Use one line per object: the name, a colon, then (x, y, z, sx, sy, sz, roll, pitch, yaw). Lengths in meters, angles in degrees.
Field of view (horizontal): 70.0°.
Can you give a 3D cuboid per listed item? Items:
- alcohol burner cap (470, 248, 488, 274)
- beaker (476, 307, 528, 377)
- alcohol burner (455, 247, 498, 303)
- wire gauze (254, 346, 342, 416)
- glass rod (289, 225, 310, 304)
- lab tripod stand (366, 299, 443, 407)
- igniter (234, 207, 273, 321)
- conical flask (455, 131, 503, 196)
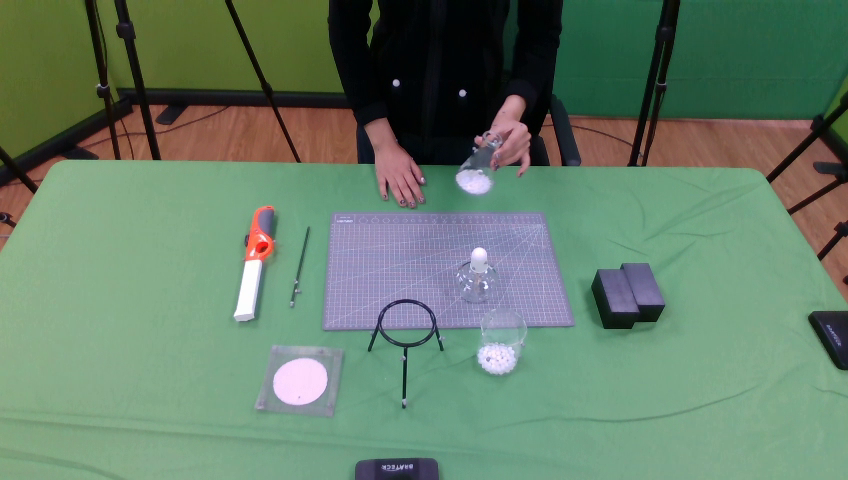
alcohol burner cap: (0.095, 0.034, 1.057, 0.034, 0.048, 0.033, -3, 53, 4)
beaker: (0.122, 0.171, 0.991, 0.084, 0.101, 0.073, -34, 56, -31)
alcohol burner: (0.095, 0.057, 1.085, 0.078, 0.120, 0.077, 1, 47, -1)
wire gauze: (-0.201, 0.223, 0.978, 0.125, 0.011, 0.121, 4, 45, 1)
glass rod: (-0.235, 0.043, 1.150, 0.008, 0.008, 0.198, 3, 46, -1)
lab tripod stand: (-0.028, 0.165, 0.960, 0.148, 0.132, 0.147, 3, 44, -2)
igniter: (-0.318, 0.035, 1.137, 0.057, 0.025, 0.274, -7, 46, 3)
conical flask: (0.110, -0.147, 1.134, 0.075, 0.122, 0.075, 9, 50, -11)
